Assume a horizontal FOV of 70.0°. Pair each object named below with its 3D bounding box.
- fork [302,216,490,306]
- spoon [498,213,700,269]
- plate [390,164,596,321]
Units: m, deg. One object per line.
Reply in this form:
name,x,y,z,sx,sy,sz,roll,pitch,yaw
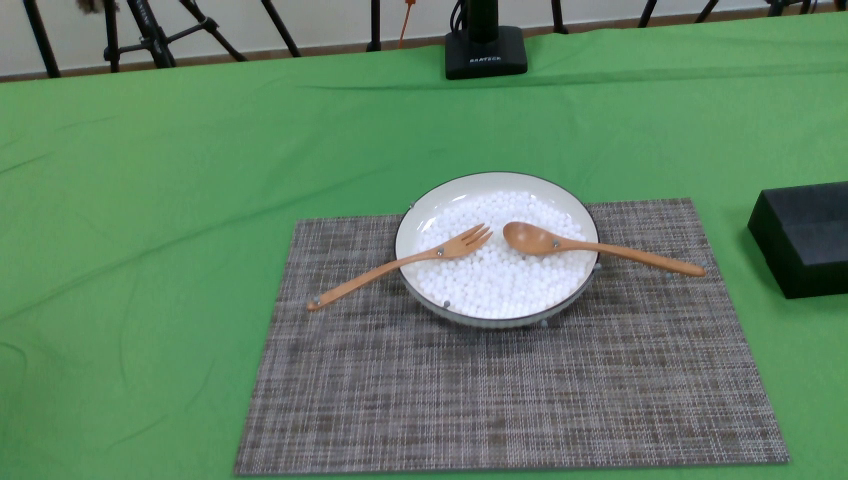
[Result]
fork,-0.024,0.020,0.602,0.208,0.019,0.028,-21,49,-23
spoon,0.164,0.003,0.588,0.192,0.022,0.041,11,46,27
plate,0.069,0.002,0.626,0.209,0.038,0.207,-4,47,4
